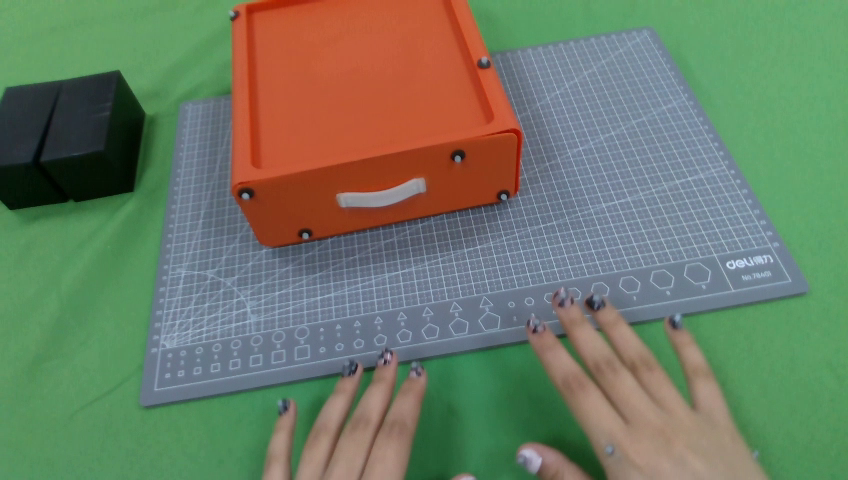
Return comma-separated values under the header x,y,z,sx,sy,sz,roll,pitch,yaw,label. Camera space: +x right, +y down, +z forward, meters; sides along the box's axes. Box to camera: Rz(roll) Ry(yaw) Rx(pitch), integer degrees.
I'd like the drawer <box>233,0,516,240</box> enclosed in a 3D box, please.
x,y,z,sx,sy,sz,roll,pitch,yaw,label
-0.047,-0.115,0.489,0.194,0.074,0.209,-12,54,-2,drawer

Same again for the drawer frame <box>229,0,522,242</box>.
x,y,z,sx,sy,sz,roll,pitch,yaw,label
-0.048,-0.117,0.489,0.202,0.083,0.211,-12,54,-3,drawer frame

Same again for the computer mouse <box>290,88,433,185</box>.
x,y,z,sx,sy,sz,roll,pitch,yaw,label
-0.051,-0.084,0.483,0.117,0.041,0.062,-13,57,4,computer mouse
